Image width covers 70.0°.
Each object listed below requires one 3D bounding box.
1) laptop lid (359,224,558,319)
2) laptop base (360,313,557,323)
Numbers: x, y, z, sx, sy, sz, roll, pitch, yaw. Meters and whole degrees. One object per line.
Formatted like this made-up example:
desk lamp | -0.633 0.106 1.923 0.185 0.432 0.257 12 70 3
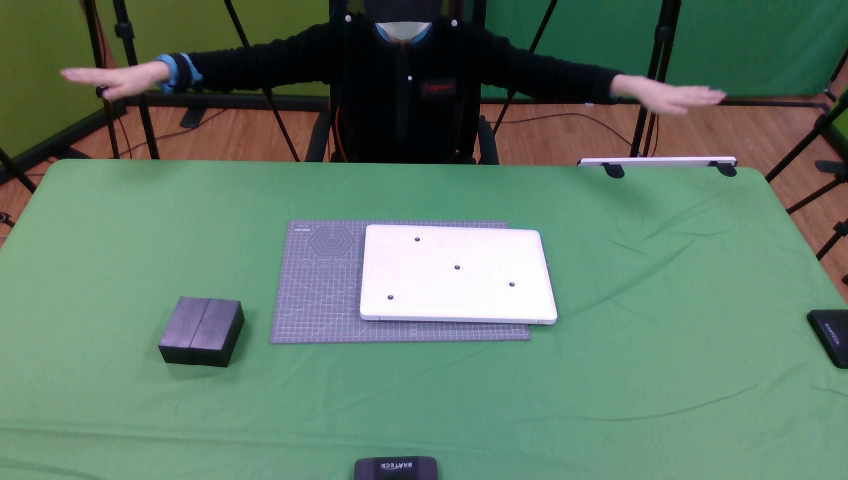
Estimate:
laptop lid | 0.061 0.053 1.137 0.357 0.013 0.240 3 44 -2
laptop base | 0.061 0.063 1.145 0.355 0.023 0.234 2 43 -4
